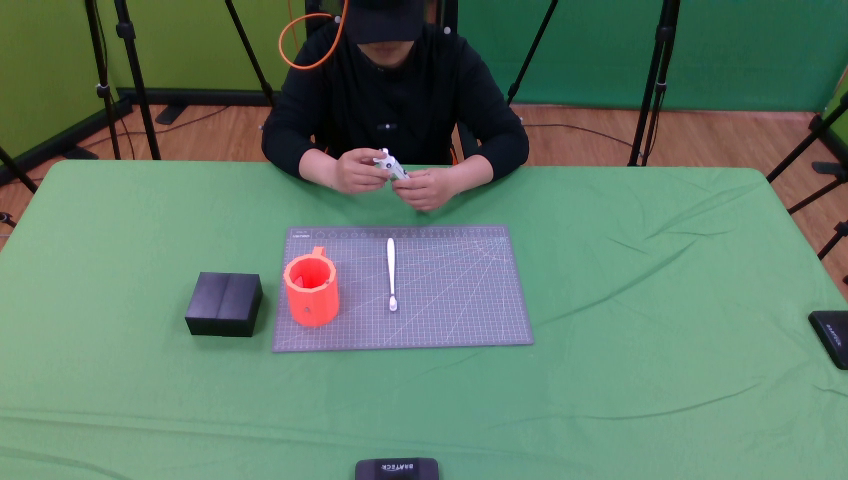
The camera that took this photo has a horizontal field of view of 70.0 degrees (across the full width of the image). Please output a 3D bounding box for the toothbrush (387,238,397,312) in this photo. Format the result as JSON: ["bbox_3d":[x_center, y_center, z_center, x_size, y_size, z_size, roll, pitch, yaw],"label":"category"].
[{"bbox_3d":[-0.061,0.060,1.136,0.014,0.017,0.180,-9,45,4],"label":"toothbrush"}]

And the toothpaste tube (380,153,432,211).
[{"bbox_3d":[-0.039,-0.114,1.207,0.055,0.166,0.034,20,67,45],"label":"toothpaste tube"}]

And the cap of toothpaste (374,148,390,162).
[{"bbox_3d":[-0.078,-0.162,1.159,0.037,0.011,0.037,-22,40,21],"label":"cap of toothpaste"}]

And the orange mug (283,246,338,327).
[{"bbox_3d":[-0.192,0.074,1.056,0.083,0.101,0.125,5,50,1],"label":"orange mug"}]
